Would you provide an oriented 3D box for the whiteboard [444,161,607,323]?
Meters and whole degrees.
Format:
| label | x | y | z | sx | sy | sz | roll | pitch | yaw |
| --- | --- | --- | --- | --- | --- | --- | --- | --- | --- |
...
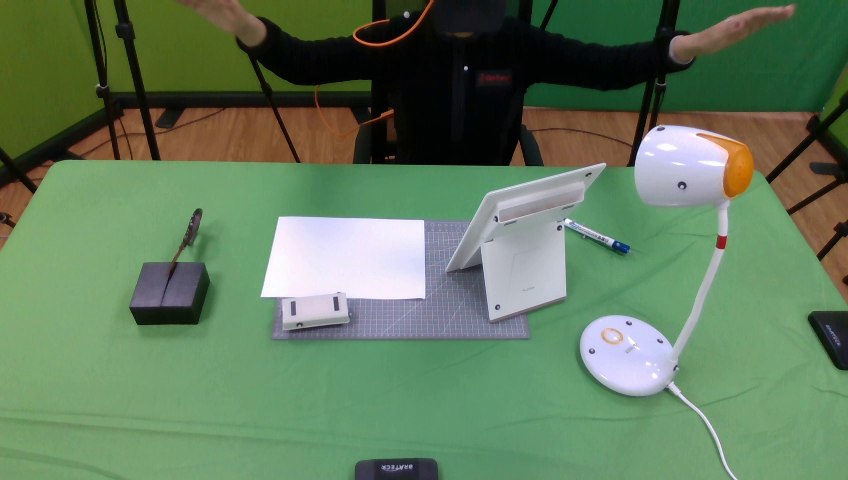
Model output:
| label | x | y | z | sx | sy | sz | roll | pitch | yaw |
| --- | --- | --- | --- | --- | --- | --- | --- | --- | --- |
| whiteboard | 0.186 | 0.025 | 1.029 | 0.217 | 0.306 | 0.143 | -14 | 68 | -18 |

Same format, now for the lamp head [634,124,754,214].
| label | x | y | z | sx | sy | sz | roll | pitch | yaw |
| --- | --- | --- | --- | --- | --- | --- | --- | --- | --- |
| lamp head | 0.351 | -0.089 | 0.775 | 0.112 | 0.113 | 0.122 | -30 | 30 | -28 |

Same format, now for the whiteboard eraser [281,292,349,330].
| label | x | y | z | sx | sy | sz | roll | pitch | yaw |
| --- | --- | --- | --- | --- | --- | --- | --- | --- | --- |
| whiteboard eraser | -0.189 | 0.124 | 1.045 | 0.113 | 0.042 | 0.055 | -6 | 46 | -10 |

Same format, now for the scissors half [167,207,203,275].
| label | x | y | z | sx | sy | sz | roll | pitch | yaw |
| --- | --- | --- | --- | --- | --- | --- | --- | --- | --- |
| scissors half | -0.436 | 0.000 | 1.104 | 0.013 | 0.040 | 0.174 | 21 | 44 | -14 |

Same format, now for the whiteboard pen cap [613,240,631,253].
| label | x | y | z | sx | sy | sz | roll | pitch | yaw |
| --- | --- | --- | --- | --- | --- | --- | --- | --- | --- |
| whiteboard pen cap | 0.393 | 0.012 | 1.207 | 0.033 | 0.018 | 0.018 | 27 | 50 | 28 |

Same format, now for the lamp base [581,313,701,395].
| label | x | y | z | sx | sy | sz | roll | pitch | yaw |
| --- | --- | --- | --- | --- | --- | --- | --- | --- | --- |
| lamp base | 0.361 | 0.144 | 0.972 | 0.178 | 0.181 | 0.160 | 34 | 53 | 23 |

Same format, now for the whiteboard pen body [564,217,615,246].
| label | x | y | z | sx | sy | sz | roll | pitch | yaw |
| --- | --- | --- | --- | --- | --- | --- | --- | --- | --- |
| whiteboard pen body | 0.346 | -0.013 | 1.233 | 0.140 | 0.017 | 0.017 | 29 | 51 | 26 |

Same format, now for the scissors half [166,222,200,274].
| label | x | y | z | sx | sy | sz | roll | pitch | yaw |
| --- | --- | --- | --- | --- | --- | --- | --- | --- | --- |
| scissors half | -0.444 | 0.014 | 1.116 | 0.013 | 0.040 | 0.174 | 16 | 27 | -10 |
